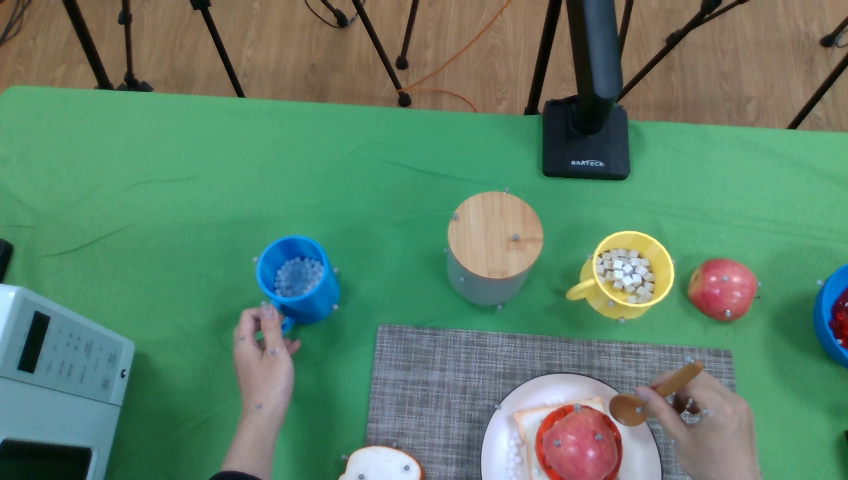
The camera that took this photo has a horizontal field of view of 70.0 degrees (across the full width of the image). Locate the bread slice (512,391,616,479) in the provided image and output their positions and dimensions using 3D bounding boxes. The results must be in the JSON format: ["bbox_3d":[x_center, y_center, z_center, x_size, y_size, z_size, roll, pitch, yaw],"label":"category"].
[{"bbox_3d":[0.170,0.250,0.703,0.107,0.018,0.133,-12,73,-5],"label":"bread slice"}]

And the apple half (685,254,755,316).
[{"bbox_3d":[0.382,0.052,0.775,0.074,0.054,0.080,24,72,11],"label":"apple half"}]

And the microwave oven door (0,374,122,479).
[{"bbox_3d":[-0.390,0.312,0.552,0.039,0.245,0.353,4,69,2],"label":"microwave oven door"}]

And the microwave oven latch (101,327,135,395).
[{"bbox_3d":[-0.370,0.144,0.723,0.030,0.029,0.078,7,70,2],"label":"microwave oven latch"}]

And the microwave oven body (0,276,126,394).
[{"bbox_3d":[-0.532,0.263,0.575,0.326,0.262,0.439,4,70,1],"label":"microwave oven body"}]

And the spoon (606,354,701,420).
[{"bbox_3d":[0.227,0.149,0.603,0.041,0.195,0.021,40,69,15],"label":"spoon"}]

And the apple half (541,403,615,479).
[{"bbox_3d":[0.169,0.216,0.648,0.081,0.033,0.081,-2,70,6],"label":"apple half"}]

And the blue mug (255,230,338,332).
[{"bbox_3d":[-0.160,0.059,0.740,0.082,0.106,0.116,24,71,8],"label":"blue mug"}]

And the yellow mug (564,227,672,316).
[{"bbox_3d":[0.240,0.046,0.769,0.131,0.064,0.099,-19,70,-7],"label":"yellow mug"}]

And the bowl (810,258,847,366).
[{"bbox_3d":[0.540,0.100,0.744,0.151,0.077,0.150,0,70,0],"label":"bowl"}]

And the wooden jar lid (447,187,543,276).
[{"bbox_3d":[0.080,-0.008,0.689,0.108,0.021,0.107,0,67,0],"label":"wooden jar lid"}]

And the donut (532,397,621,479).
[{"bbox_3d":[0.171,0.227,0.682,0.099,0.048,0.098,0,70,0],"label":"donut"}]

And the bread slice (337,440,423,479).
[{"bbox_3d":[-0.057,0.298,0.696,0.105,0.019,0.131,11,71,3],"label":"bread slice"}]

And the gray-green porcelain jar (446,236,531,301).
[{"bbox_3d":[0.080,0.014,0.748,0.106,0.127,0.105,0,69,0],"label":"gray-green porcelain jar"}]

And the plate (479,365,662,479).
[{"bbox_3d":[0.166,0.252,0.704,0.208,0.039,0.206,0,70,0],"label":"plate"}]
